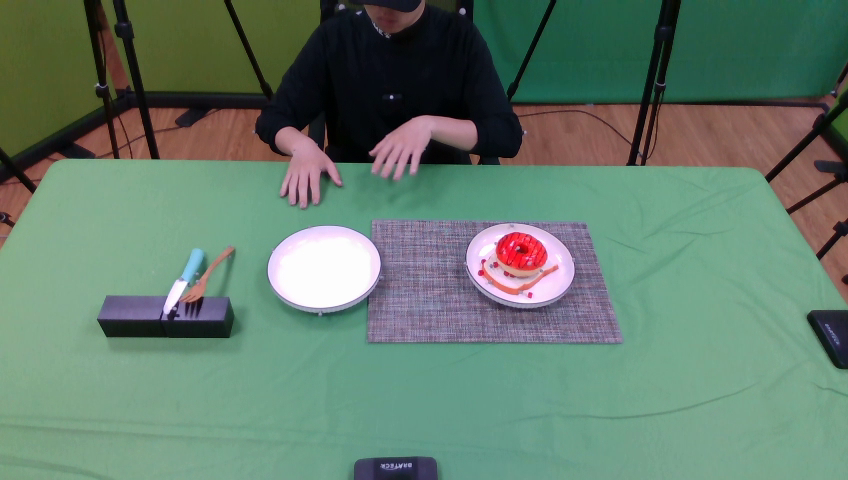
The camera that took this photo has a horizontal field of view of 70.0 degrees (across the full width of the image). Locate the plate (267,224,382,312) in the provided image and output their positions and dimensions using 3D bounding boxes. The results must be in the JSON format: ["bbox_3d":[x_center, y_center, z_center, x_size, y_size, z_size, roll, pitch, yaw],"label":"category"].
[{"bbox_3d":[-0.182,0.055,1.120,0.208,0.039,0.206,2,46,-2],"label":"plate"}]

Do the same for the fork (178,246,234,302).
[{"bbox_3d":[-0.380,0.057,1.075,0.028,0.019,0.206,2,28,5],"label":"fork"}]

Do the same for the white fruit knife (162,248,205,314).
[{"bbox_3d":[-0.420,0.070,1.063,0.027,0.016,0.206,-1,29,-3],"label":"white fruit knife"}]

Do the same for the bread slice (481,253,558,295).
[{"bbox_3d":[0.177,0.050,1.148,0.131,0.019,0.104,-32,55,-31],"label":"bread slice"}]

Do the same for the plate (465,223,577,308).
[{"bbox_3d":[0.180,0.051,1.144,0.209,0.038,0.208,2,46,-2],"label":"plate"}]

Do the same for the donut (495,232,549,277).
[{"bbox_3d":[0.180,0.026,1.119,0.099,0.048,0.098,2,46,-2],"label":"donut"}]
